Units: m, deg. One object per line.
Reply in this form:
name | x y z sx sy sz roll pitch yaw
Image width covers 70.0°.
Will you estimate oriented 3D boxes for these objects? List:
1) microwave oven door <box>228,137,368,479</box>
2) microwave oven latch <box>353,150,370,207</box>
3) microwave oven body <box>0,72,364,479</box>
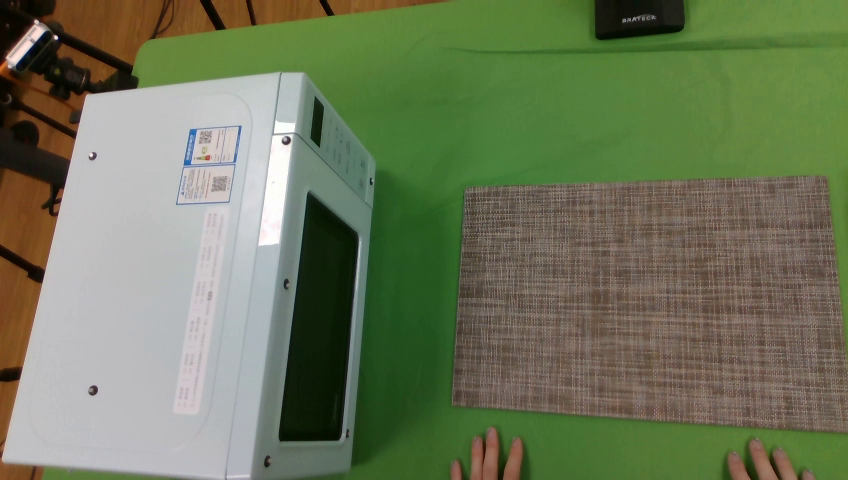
microwave oven door | -0.134 0.091 0.713 0.039 0.246 0.353 -2 72 16
microwave oven latch | -0.095 -0.087 0.868 0.030 0.030 0.078 -1 74 15
microwave oven body | -0.271 0.058 0.768 0.325 0.262 0.439 -2 73 15
